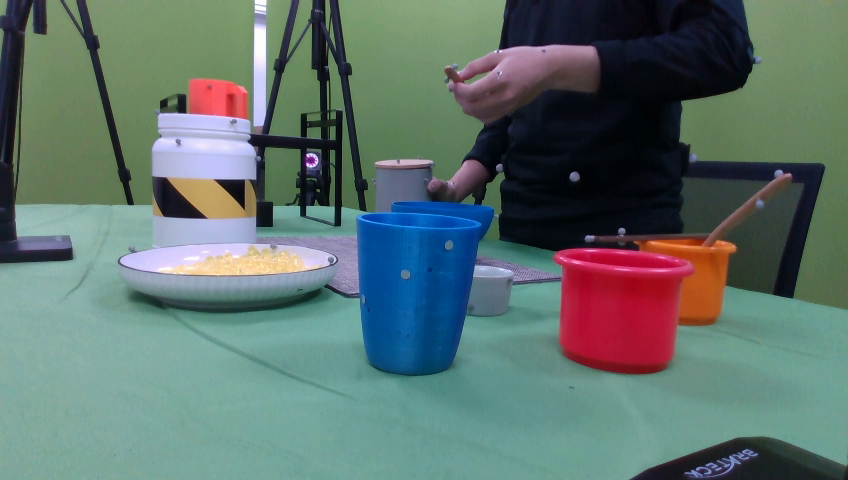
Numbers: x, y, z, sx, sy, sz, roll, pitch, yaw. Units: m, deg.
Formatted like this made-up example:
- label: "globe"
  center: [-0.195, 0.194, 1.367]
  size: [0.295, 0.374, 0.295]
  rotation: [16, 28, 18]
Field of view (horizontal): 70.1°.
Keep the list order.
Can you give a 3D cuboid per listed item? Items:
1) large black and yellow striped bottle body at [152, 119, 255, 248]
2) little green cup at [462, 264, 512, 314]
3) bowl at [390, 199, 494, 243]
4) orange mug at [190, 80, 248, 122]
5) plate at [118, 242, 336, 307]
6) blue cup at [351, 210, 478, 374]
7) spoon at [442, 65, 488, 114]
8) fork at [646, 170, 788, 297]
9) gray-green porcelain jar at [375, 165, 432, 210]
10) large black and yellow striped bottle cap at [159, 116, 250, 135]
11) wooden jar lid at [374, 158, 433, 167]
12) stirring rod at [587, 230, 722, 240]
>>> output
- label: "large black and yellow striped bottle body"
  center: [-0.296, -0.070, 0.819]
  size: [0.131, 0.184, 0.130]
  rotation: [2, 7, 0]
- label: "little green cup"
  center: [0.053, 0.047, 0.579]
  size: [0.061, 0.038, 0.061]
  rotation: [3, 8, 0]
- label: "bowl"
  center: [0.024, -0.015, 0.871]
  size: [0.151, 0.077, 0.151]
  rotation: [3, 7, 0]
- label: "orange mug"
  center: [-0.394, -0.257, 1.173]
  size: [0.126, 0.100, 0.084]
  rotation: [1, 6, 25]
- label: "plate"
  center: [-0.194, 0.033, 0.615]
  size: [0.209, 0.038, 0.209]
  rotation: [2, 7, 0]
- label: "blue cup"
  center: [-0.009, 0.034, 0.414]
  size: [0.093, 0.100, 0.092]
  rotation: [4, 8, 0]
- label: "spoon"
  center: [0.053, -0.208, 0.843]
  size: [0.041, 0.021, 0.194]
  rotation: [2, -7, 18]
- label: "fork"
  center: [0.256, 0.004, 0.543]
  size: [0.028, 0.018, 0.207]
  rotation: [3, -36, -10]
- label: "gray-green porcelain jar"
  center: [-0.038, -0.076, 1.120]
  size: [0.106, 0.126, 0.106]
  rotation: [1, 11, 0]
- label: "large black and yellow striped bottle cap"
  center: [-0.292, -0.153, 0.810]
  size: [0.115, 0.019, 0.115]
  rotation: [3, 9, 0]
- label: "wooden jar lid"
  center: [-0.037, -0.136, 1.109]
  size: [0.108, 0.020, 0.108]
  rotation: [0, 12, 0]
- label: "stirring rod"
  center: [0.227, -0.006, 0.585]
  size: [0.177, 0.006, 0.014]
  rotation: [-2, 7, -28]
